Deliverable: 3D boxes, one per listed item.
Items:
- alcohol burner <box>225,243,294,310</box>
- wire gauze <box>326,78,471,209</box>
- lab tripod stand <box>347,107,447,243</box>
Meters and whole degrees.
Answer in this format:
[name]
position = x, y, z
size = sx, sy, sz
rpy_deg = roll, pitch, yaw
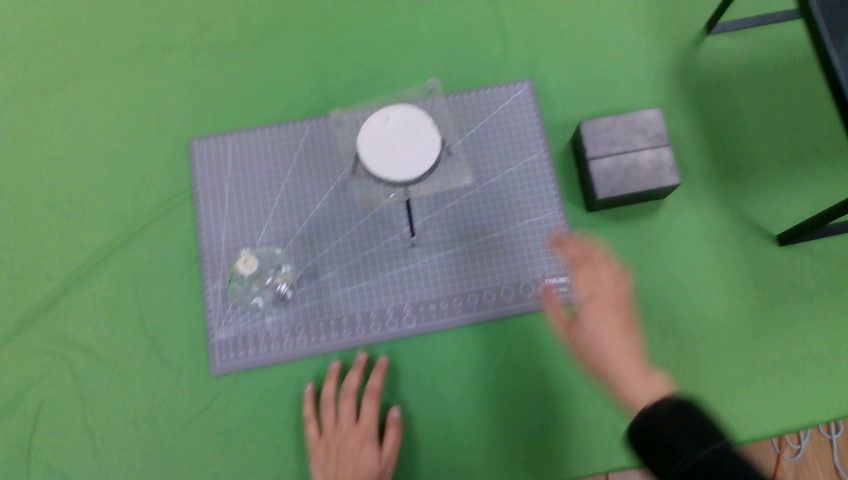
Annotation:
[alcohol burner]
position = -0.187, 0.036, 0.674
size = 0.078, 0.120, 0.077
rpy_deg = 0, 73, 0
[wire gauze]
position = -0.028, -0.101, 0.630
size = 0.125, 0.011, 0.121
rpy_deg = -16, 76, -5
[lab tripod stand]
position = -0.026, -0.085, 0.695
size = 0.148, 0.132, 0.147
rpy_deg = 0, 73, 0
